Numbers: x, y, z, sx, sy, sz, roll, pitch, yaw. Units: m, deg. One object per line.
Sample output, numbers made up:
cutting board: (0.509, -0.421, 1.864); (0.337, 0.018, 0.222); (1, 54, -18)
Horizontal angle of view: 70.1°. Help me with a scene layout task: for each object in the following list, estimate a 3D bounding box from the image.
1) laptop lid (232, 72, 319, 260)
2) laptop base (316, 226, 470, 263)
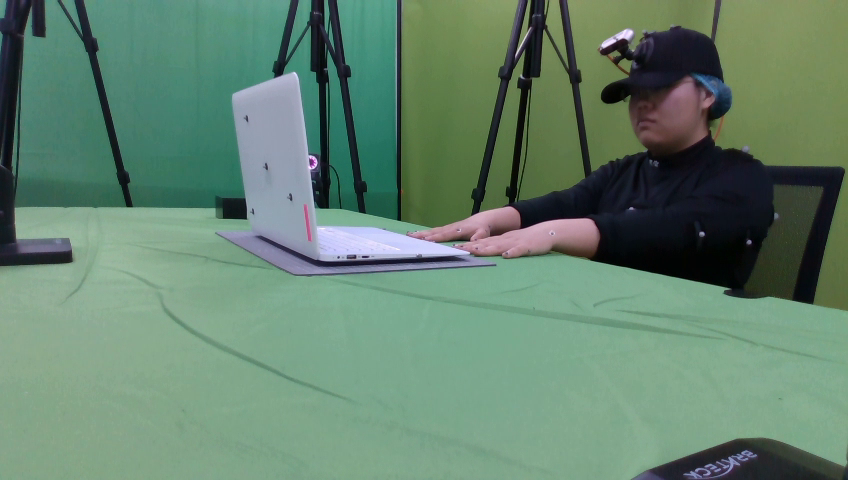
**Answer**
laptop lid: (-0.228, -0.109, 0.888); (0.013, 0.241, 0.355); (-10, 14, -28)
laptop base: (-0.116, 0.005, 0.971); (0.237, 0.023, 0.352); (2, 6, -30)
